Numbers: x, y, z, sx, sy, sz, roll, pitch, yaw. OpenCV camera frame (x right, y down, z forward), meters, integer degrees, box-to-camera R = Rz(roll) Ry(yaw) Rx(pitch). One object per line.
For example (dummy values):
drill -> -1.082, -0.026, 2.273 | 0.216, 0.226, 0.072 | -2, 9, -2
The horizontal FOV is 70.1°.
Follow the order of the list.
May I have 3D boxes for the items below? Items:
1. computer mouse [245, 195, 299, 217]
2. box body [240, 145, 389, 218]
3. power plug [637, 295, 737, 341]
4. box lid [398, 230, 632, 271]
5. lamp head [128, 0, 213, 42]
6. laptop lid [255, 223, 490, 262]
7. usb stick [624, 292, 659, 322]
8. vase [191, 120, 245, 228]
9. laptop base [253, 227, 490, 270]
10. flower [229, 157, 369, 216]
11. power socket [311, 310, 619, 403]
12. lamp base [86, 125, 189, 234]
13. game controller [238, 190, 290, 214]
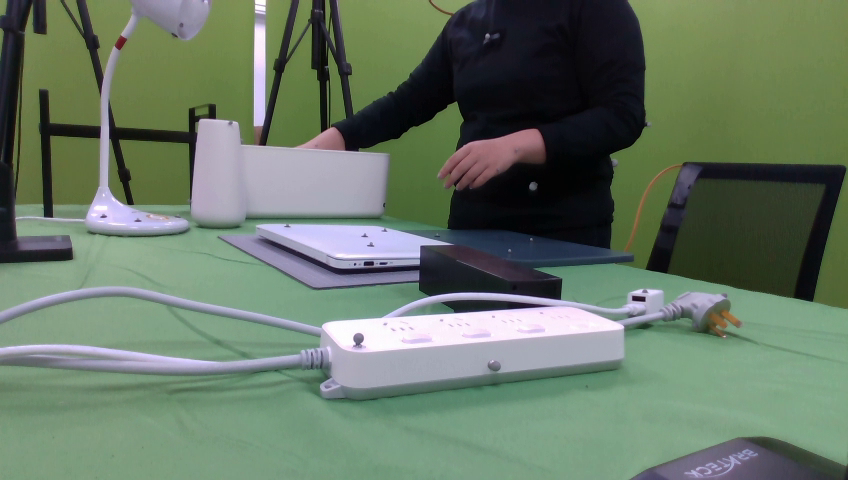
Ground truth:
computer mouse -> -0.344, -0.078, 1.368 | 0.118, 0.041, 0.062 | -12, 16, -30
box body -> -0.297, -0.143, 1.474 | 0.366, 0.160, 0.253 | -1, 9, -30
power plug -> 0.235, 0.077, 0.535 | 0.072, 0.035, 0.052 | -34, 40, -5
box lid -> 0.140, 0.012, 1.045 | 0.265, 0.015, 0.369 | -1, 9, -32
lamp head -> -0.423, -0.394, 0.980 | 0.123, 0.112, 0.112 | 20, 7, -3
laptop lid -> -0.093, 0.000, 0.911 | 0.243, 0.013, 0.355 | 1, 7, -30
usb stick -> 0.211, 0.064, 0.580 | 0.021, 0.027, 0.059 | -2, -4, 36
vase -> -0.389, -0.124, 1.142 | 0.098, 0.200, 0.098 | 3, 9, 0
laptop base -> -0.096, 0.012, 0.911 | 0.237, 0.023, 0.352 | 3, 6, -32
flower -> -0.286, -0.117, 1.438 | 0.364, 0.038, 0.044 | 20, -46, -31
power socket -> 0.034, 0.074, 0.415 | 0.228, 0.032, 0.072 | -1, 7, -24
lamp base -> -0.497, -0.105, 1.027 | 0.179, 0.180, 0.160 | 1, 7, 3
game controller -> -0.391, -0.094, 1.465 | 0.097, 0.051, 0.154 | -3, 8, -28
